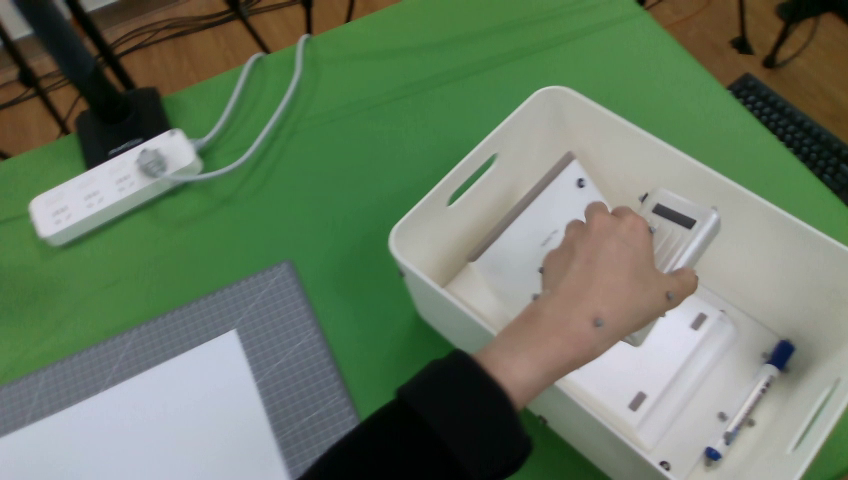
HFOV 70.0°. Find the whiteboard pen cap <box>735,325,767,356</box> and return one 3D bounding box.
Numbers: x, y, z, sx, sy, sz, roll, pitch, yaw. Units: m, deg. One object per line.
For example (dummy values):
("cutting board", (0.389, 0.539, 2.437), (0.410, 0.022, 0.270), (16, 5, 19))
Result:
("whiteboard pen cap", (0.330, 0.103, 0.613), (0.033, 0.018, 0.018), (-42, 65, -17))

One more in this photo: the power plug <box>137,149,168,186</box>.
("power plug", (-0.334, -0.081, 0.752), (0.035, 0.053, 0.072), (-21, 67, -6))

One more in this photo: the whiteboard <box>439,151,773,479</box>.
("whiteboard", (0.175, 0.053, 0.594), (0.303, 0.145, 0.217), (36, 67, 23))

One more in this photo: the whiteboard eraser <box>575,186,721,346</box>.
("whiteboard eraser", (0.164, 0.018, 0.445), (0.055, 0.042, 0.112), (31, 82, 35))

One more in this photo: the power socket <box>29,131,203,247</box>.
("power socket", (-0.391, -0.067, 0.775), (0.227, 0.033, 0.071), (-30, 63, -12))

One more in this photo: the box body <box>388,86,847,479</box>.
("box body", (0.180, 0.057, 0.578), (0.361, 0.162, 0.254), (37, 70, 23))

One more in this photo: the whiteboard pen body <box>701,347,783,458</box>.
("whiteboard pen body", (0.313, 0.155, 0.590), (0.017, 0.017, 0.140), (38, 70, 23))
